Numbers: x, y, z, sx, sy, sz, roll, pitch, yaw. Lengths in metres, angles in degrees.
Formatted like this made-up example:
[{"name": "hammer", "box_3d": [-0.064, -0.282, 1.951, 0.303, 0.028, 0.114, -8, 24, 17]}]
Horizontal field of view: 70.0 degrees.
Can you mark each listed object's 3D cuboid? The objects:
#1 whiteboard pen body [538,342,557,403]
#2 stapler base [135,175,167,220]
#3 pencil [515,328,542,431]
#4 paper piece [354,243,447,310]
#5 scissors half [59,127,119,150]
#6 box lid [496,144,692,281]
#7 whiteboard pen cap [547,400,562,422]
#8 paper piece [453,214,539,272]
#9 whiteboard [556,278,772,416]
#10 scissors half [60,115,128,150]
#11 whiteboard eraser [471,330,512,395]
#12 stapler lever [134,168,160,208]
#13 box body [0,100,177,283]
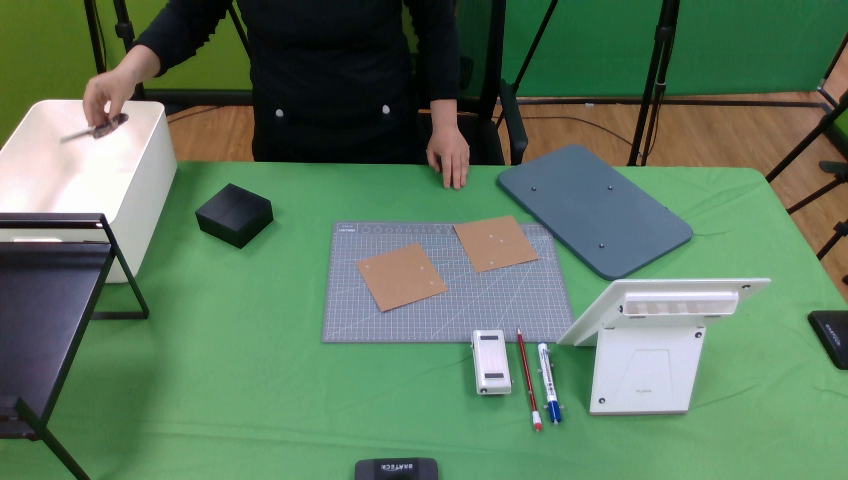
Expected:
[{"name": "whiteboard pen body", "box_3d": [0.205, 0.228, 0.997, 0.017, 0.017, 0.140, 1, 46, -3]}, {"name": "stapler base", "box_3d": [-0.558, -0.093, 1.235, 0.041, 0.024, 0.129, 0, 44, -11]}, {"name": "pencil", "box_3d": [0.169, 0.224, 1.002, 0.012, 0.012, 0.192, -1, 46, -6]}, {"name": "paper piece", "box_3d": [-0.045, 0.066, 1.137, 0.136, 0.009, 0.137, -14, 47, -22]}, {"name": "scissors half", "box_3d": [-0.606, -0.183, 1.095, 0.040, 0.013, 0.174, -38, 15, 14]}, {"name": "box lid", "box_3d": [0.360, -0.073, 1.305, 0.263, 0.015, 0.369, -24, 52, -25]}, {"name": "whiteboard pen cap", "box_3d": [0.205, 0.269, 0.956, 0.018, 0.018, 0.033, 0, 47, -5]}, {"name": "paper piece", "box_3d": [0.142, 0.002, 1.213, 0.135, 0.004, 0.135, -11, 47, -14]}, {"name": "whiteboard", "box_3d": [0.347, 0.174, 0.903, 0.217, 0.306, 0.143, 1, 65, -4]}, {"name": "scissors half", "box_3d": [-0.590, -0.193, 1.087, 0.040, 0.013, 0.174, -27, 19, 27]}, {"name": "whiteboard eraser", "box_3d": [0.110, 0.202, 0.998, 0.055, 0.042, 0.112, 1, 46, -5]}, {"name": "stapler lever", "box_3d": [-0.556, -0.112, 1.219, 0.027, 0.040, 0.117, 0, 44, -10]}, {"name": "box body", "box_3d": [-0.639, -0.095, 1.140, 0.254, 0.161, 0.361, 1, 46, -5]}]
